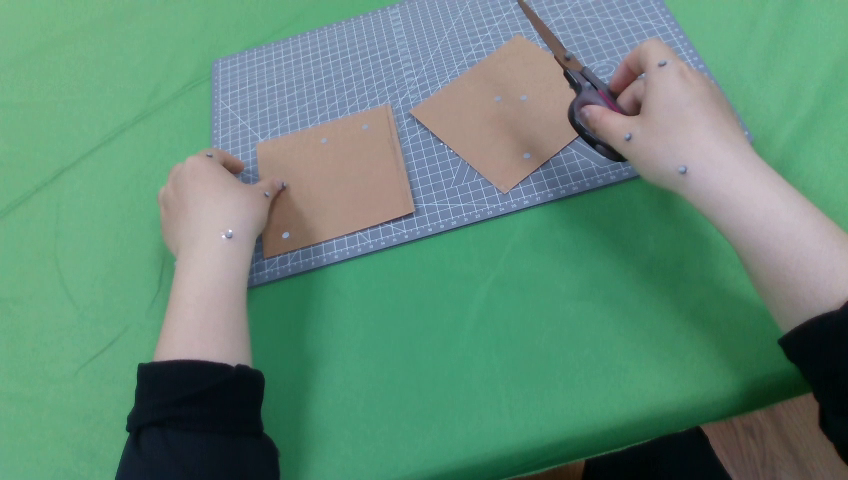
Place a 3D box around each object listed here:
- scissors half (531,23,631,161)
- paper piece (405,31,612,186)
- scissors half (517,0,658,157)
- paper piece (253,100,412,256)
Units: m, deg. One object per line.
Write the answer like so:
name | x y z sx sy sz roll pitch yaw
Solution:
scissors half | 0.102 -0.128 0.450 0.040 0.013 0.173 -1 56 -33
paper piece | 0.074 -0.122 0.533 0.135 0.004 0.134 -36 57 -11
scissors half | 0.118 -0.132 0.461 0.040 0.013 0.174 -22 69 -36
paper piece | -0.086 -0.060 0.536 0.138 0.009 0.134 -18 52 6
